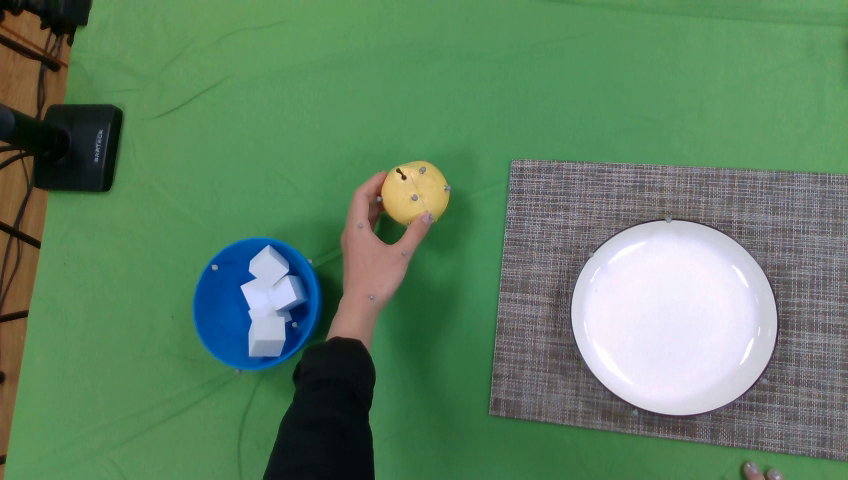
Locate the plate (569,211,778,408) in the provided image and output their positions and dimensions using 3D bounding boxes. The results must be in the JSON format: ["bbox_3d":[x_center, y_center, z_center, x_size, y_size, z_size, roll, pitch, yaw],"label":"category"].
[{"bbox_3d":[0.262,0.073,0.652,0.207,0.039,0.207,-2,82,11],"label":"plate"}]

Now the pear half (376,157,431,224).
[{"bbox_3d":[-0.029,-0.058,0.681,0.056,0.111,0.075,-22,65,5],"label":"pear half"}]

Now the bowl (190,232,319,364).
[{"bbox_3d":[-0.187,0.070,0.717,0.151,0.077,0.151,-1,82,10],"label":"bowl"}]

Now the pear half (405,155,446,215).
[{"bbox_3d":[0.006,-0.068,0.686,0.031,0.089,0.070,-22,66,7],"label":"pear half"}]
